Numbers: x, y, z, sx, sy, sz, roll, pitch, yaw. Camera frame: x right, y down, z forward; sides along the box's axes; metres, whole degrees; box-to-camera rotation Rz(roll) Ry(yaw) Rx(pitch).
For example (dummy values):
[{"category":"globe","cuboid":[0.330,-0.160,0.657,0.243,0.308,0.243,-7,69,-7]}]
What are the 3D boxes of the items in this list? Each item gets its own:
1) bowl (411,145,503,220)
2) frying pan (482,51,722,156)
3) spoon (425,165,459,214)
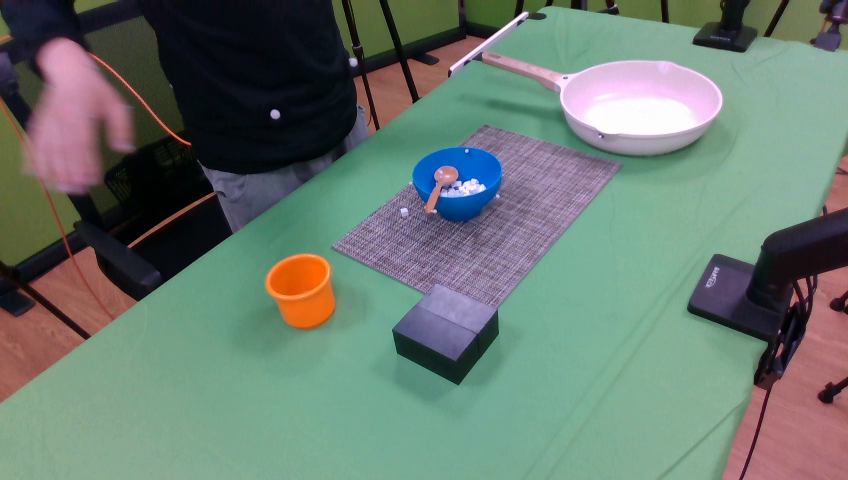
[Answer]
[{"category":"bowl","cuboid":[0.057,-0.086,1.010,0.151,0.077,0.150,-4,41,4]},{"category":"frying pan","cuboid":[0.326,-0.298,1.204,0.484,0.103,0.307,28,51,23]},{"category":"spoon","cuboid":[0.023,-0.083,0.963,0.041,0.021,0.193,8,24,10]}]
